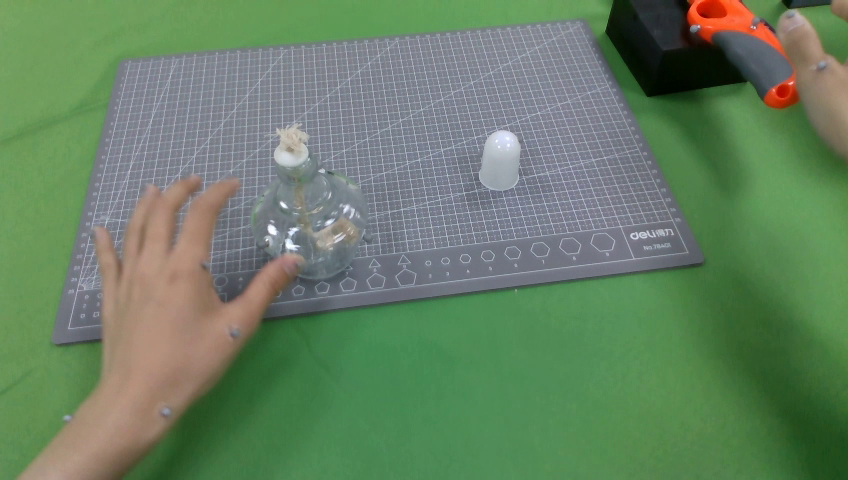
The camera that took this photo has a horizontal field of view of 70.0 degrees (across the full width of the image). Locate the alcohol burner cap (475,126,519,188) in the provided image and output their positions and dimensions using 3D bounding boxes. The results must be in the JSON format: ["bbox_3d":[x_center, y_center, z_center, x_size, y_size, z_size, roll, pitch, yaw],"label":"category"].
[{"bbox_3d":[0.058,-0.066,0.466,0.034,0.048,0.033,1,54,-1],"label":"alcohol burner cap"}]

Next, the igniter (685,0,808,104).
[{"bbox_3d":[0.244,-0.209,0.523,0.057,0.025,0.273,-11,53,-5],"label":"igniter"}]

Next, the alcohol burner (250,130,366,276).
[{"bbox_3d":[-0.078,-0.028,0.395,0.078,0.120,0.077,0,56,1],"label":"alcohol burner"}]
